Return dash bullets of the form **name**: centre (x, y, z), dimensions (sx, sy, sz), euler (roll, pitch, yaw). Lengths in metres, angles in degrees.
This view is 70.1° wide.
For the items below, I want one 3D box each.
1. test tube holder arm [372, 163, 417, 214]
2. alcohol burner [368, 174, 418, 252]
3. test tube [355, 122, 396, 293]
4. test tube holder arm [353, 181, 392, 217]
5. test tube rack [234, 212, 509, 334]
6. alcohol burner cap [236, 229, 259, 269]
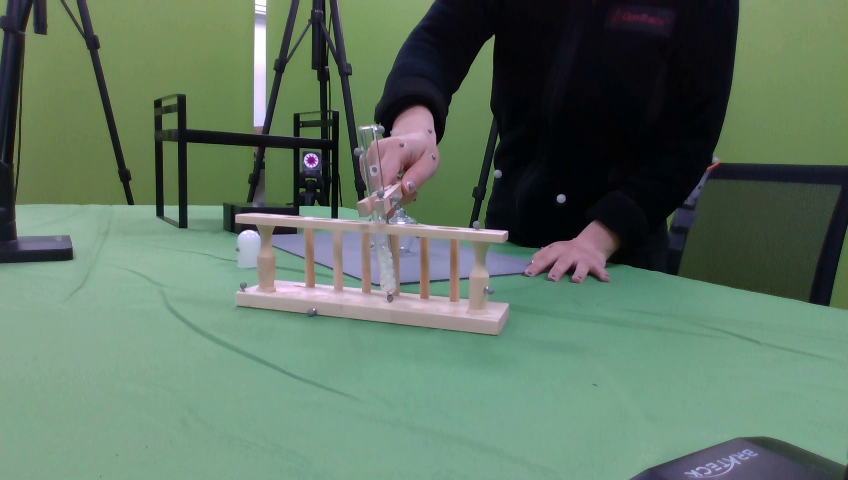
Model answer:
- **test tube holder arm**: centre (-0.025, -0.052, 0.581), dimensions (0.013, 0.015, 0.178), euler (-6, 15, 12)
- **alcohol burner**: centre (-0.047, -0.041, 0.922), dimensions (0.078, 0.119, 0.078), euler (1, 9, 0)
- **test tube**: centre (-0.041, -0.025, 0.519), dimensions (0.017, 0.150, 0.017), euler (-7, 14, 2)
- **test tube holder arm**: centre (-0.040, -0.039, 0.540), dimensions (0.010, 0.015, 0.088), euler (-4, 16, 20)
- **test tube rack**: centre (-0.047, 0.023, 0.547), dimensions (0.242, 0.085, 0.067), euler (4, 8, 15)
- **alcohol burner cap**: centre (-0.221, 0.010, 0.759), dimensions (0.034, 0.048, 0.034), euler (0, 12, 0)
